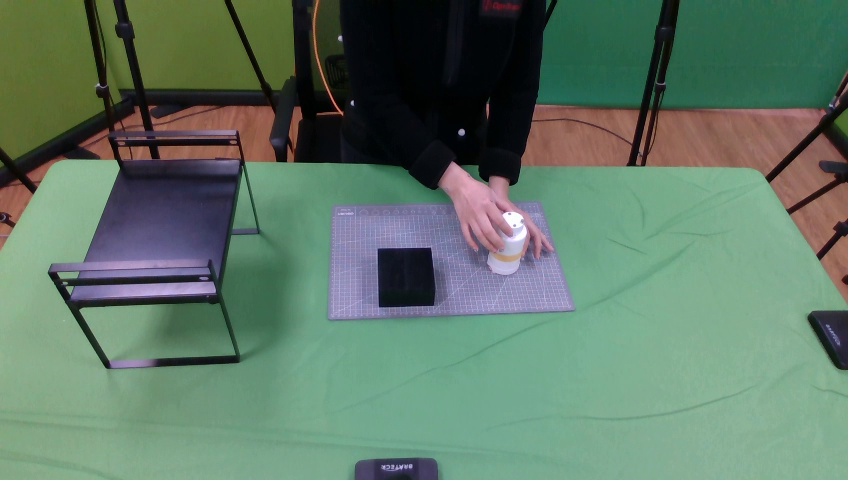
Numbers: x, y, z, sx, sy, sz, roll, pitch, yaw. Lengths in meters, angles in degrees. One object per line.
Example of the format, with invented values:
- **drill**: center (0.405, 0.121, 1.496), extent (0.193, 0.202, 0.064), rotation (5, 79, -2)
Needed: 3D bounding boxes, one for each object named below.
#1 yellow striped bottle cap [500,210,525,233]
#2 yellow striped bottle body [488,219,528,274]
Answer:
- **yellow striped bottle cap**: center (0.160, -0.033, 1.094), extent (0.044, 0.019, 0.044), rotation (4, 47, -4)
- **yellow striped bottle body**: center (0.158, 0.003, 1.131), extent (0.063, 0.121, 0.062), rotation (2, 46, -2)
